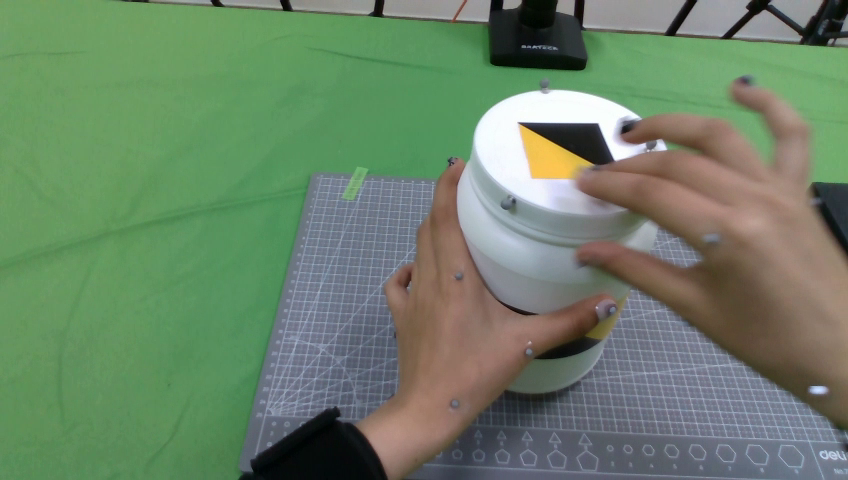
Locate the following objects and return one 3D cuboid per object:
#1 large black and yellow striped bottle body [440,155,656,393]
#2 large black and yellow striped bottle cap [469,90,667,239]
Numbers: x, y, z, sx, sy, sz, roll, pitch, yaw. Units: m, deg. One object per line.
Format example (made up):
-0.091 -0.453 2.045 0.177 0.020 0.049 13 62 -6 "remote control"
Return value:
0.080 0.008 0.422 0.131 0.185 0.129 2 48 -2 "large black and yellow striped bottle body"
0.084 -0.049 0.359 0.115 0.019 0.114 1 49 -1 "large black and yellow striped bottle cap"
